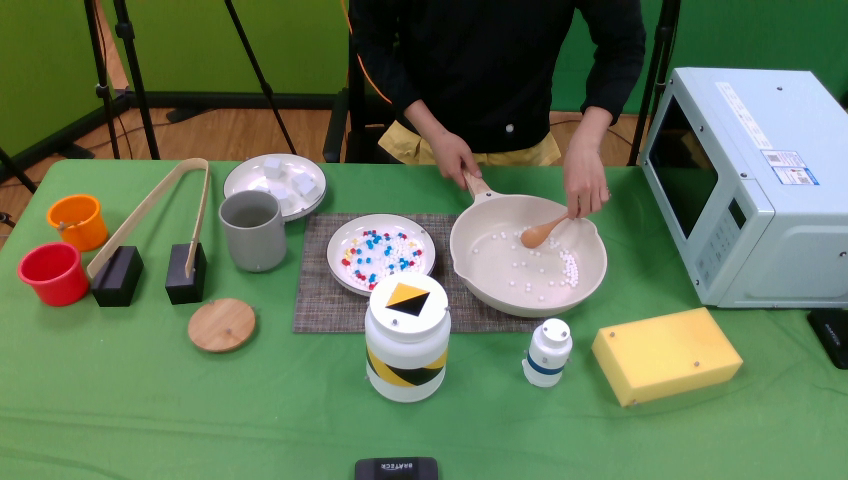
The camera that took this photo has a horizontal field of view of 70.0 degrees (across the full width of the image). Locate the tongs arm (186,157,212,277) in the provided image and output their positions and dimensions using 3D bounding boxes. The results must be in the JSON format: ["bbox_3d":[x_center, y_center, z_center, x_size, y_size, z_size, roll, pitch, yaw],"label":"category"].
[{"bbox_3d":[-0.445,-0.058,1.168,0.051,0.026,0.382,-5,37,-6],"label":"tongs arm"}]

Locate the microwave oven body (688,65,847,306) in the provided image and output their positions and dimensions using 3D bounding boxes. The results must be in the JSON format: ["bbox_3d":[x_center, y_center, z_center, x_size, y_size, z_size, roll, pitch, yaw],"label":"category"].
[{"bbox_3d":[0.669,-0.111,1.176,0.326,0.261,0.439,0,46,-3],"label":"microwave oven body"}]

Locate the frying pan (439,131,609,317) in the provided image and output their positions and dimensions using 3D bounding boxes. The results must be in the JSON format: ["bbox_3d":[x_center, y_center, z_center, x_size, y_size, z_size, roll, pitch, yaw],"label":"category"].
[{"bbox_3d":[0.149,-0.049,1.190,0.307,0.103,0.484,-17,58,-20],"label":"frying pan"}]

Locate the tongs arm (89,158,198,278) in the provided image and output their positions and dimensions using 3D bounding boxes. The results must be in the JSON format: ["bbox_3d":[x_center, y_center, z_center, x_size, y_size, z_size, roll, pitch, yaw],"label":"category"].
[{"bbox_3d":[-0.529,-0.057,1.164,0.028,0.028,0.385,1,36,8],"label":"tongs arm"}]

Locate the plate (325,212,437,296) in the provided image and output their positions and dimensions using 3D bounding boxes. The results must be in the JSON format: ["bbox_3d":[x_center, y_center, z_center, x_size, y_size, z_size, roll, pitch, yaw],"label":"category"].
[{"bbox_3d":[-0.080,0.030,1.143,0.209,0.038,0.208,3,46,-2],"label":"plate"}]

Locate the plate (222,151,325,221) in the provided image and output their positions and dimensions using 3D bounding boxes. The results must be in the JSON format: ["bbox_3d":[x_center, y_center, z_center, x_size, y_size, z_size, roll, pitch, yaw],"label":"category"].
[{"bbox_3d":[-0.310,-0.106,1.263,0.208,0.039,0.206,2,47,-2],"label":"plate"}]

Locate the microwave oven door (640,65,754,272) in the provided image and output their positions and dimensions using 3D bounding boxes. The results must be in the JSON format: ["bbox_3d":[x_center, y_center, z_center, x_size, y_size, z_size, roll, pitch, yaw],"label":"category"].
[{"bbox_3d":[0.523,-0.147,1.193,0.039,0.245,0.353,0,47,-3],"label":"microwave oven door"}]

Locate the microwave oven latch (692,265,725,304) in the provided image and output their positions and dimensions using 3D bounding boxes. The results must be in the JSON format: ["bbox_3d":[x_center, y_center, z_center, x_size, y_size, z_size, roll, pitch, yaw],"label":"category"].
[{"bbox_3d":[0.522,0.081,1.116,0.030,0.029,0.078,1,46,-2],"label":"microwave oven latch"}]

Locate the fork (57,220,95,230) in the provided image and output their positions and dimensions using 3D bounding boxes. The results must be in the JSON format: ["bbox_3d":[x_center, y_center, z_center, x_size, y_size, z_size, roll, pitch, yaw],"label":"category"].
[{"bbox_3d":[-0.624,-0.027,1.086,0.028,0.207,0.018,-3,92,-17],"label":"fork"}]

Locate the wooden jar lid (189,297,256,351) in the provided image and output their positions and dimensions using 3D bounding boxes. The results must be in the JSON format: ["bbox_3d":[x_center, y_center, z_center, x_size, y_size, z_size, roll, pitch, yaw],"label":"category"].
[{"bbox_3d":[-0.342,0.145,1.033,0.108,0.021,0.107,2,45,-2],"label":"wooden jar lid"}]

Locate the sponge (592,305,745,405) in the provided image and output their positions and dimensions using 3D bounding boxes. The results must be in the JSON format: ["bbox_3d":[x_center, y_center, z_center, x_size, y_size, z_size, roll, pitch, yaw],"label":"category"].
[{"bbox_3d":[0.405,0.190,1.014,0.207,0.061,0.117,-10,48,-12],"label":"sponge"}]

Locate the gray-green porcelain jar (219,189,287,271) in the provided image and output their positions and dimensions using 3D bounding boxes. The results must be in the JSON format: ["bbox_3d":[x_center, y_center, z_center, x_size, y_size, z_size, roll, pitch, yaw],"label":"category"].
[{"bbox_3d":[-0.310,-0.014,1.113,0.106,0.127,0.105,2,46,-2],"label":"gray-green porcelain jar"}]

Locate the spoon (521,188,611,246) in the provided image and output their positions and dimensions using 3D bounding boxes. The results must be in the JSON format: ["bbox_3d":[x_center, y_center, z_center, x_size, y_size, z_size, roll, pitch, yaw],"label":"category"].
[{"bbox_3d":[0.274,-0.048,1.171,0.194,0.041,0.021,-34,5,12],"label":"spoon"}]

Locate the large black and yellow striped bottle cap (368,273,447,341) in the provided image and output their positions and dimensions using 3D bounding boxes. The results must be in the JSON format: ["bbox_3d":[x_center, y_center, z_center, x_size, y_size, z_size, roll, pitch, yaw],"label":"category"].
[{"bbox_3d":[-0.023,0.094,0.875,0.115,0.019,0.114,2,45,-2],"label":"large black and yellow striped bottle cap"}]

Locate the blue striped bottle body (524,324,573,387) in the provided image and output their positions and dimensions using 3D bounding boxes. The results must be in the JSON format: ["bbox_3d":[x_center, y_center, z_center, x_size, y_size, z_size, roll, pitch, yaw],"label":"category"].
[{"bbox_3d":[0.200,0.178,0.970,0.063,0.121,0.062,2,46,-2],"label":"blue striped bottle body"}]

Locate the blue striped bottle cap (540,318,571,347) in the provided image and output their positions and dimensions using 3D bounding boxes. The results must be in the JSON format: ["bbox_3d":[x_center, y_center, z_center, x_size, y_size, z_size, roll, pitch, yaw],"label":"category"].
[{"bbox_3d":[0.203,0.142,0.933,0.044,0.021,0.044,3,49,-3],"label":"blue striped bottle cap"}]

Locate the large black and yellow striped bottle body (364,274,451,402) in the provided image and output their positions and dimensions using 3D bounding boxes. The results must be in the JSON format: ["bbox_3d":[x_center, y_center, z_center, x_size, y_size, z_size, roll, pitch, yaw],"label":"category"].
[{"bbox_3d":[-0.026,0.151,0.937,0.131,0.185,0.130,2,47,-2],"label":"large black and yellow striped bottle body"}]
